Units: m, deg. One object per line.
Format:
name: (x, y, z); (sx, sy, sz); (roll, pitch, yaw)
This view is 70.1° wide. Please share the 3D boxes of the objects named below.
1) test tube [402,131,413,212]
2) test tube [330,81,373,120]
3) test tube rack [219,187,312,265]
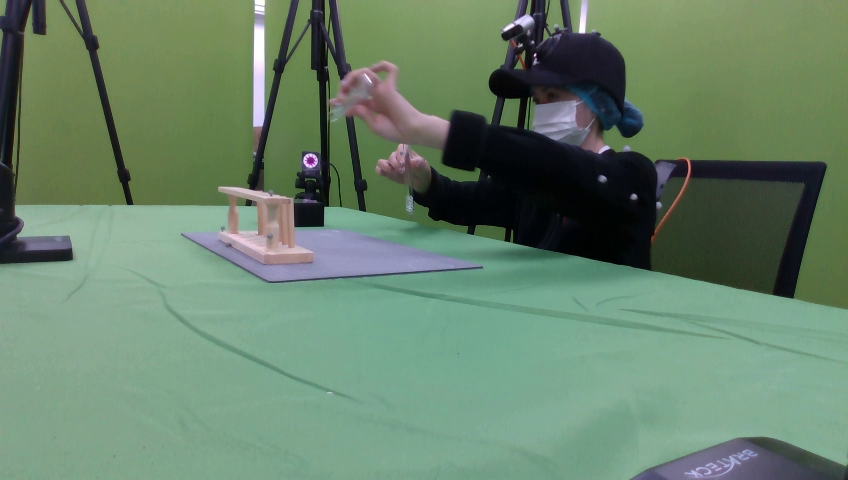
test tube: (-0.030, -0.125, 1.114); (0.017, 0.150, 0.017); (-2, 10, 1)
test tube: (-0.100, -0.189, 0.822); (0.017, 0.017, 0.150); (-1, -3, -25)
test tube rack: (-0.235, -0.027, 0.872); (0.067, 0.085, 0.241); (-2, 8, -31)
